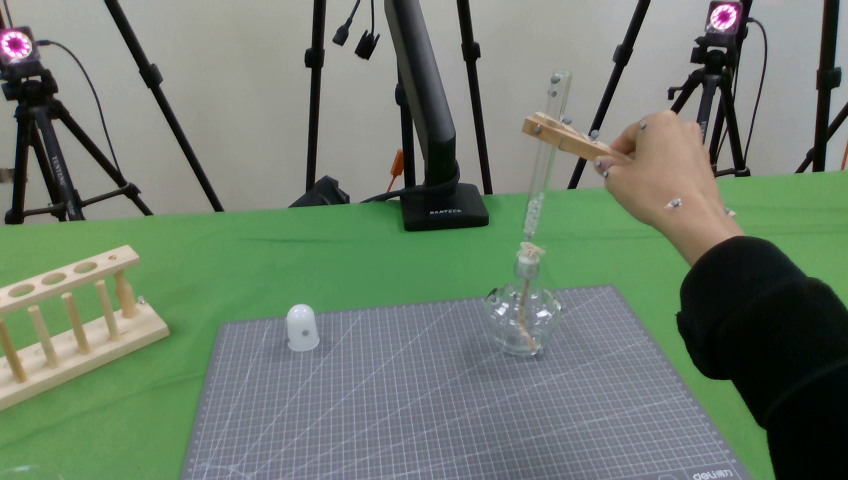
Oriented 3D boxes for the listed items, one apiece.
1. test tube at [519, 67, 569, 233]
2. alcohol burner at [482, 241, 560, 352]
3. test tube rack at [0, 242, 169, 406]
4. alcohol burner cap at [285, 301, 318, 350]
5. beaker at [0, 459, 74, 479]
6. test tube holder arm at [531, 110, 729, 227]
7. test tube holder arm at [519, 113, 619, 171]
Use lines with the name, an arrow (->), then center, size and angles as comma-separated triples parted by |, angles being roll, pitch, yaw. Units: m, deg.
test tube -> 0.101, -0.072, 0.519 | 0.017, 0.151, 0.017 | 5, 31, -3
alcohol burner -> 0.097, 0.052, 0.599 | 0.078, 0.120, 0.077 | 1, 31, 0
test tube rack -> -0.384, 0.092, 0.578 | 0.243, 0.086, 0.066 | -25, 39, -35
alcohol burner cap -> -0.128, 0.085, 0.619 | 0.034, 0.048, 0.033 | -1, 30, 1
beaker -> -0.249, 0.200, 0.376 | 0.084, 0.101, 0.073 | -1, 30, 1
test tube holder arm -> 0.155, -0.060, 0.478 | 0.177, 0.015, 0.013 | 35, 41, 28
test tube holder arm -> 0.118, -0.081, 0.493 | 0.087, 0.015, 0.010 | 29, 38, 21
